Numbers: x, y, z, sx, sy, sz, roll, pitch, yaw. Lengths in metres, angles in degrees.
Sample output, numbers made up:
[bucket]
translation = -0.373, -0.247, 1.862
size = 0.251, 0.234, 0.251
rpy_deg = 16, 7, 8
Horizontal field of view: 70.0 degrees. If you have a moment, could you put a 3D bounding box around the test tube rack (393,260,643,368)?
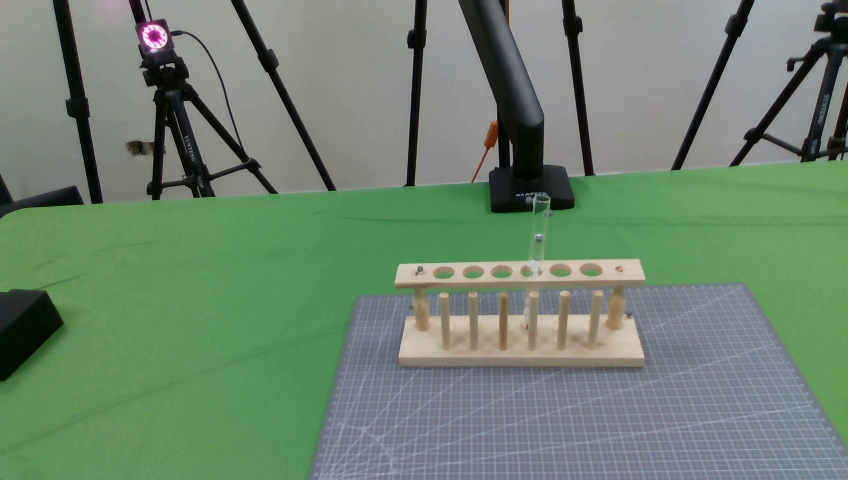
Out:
[test tube rack]
translation = 0.093, 0.075, 0.612
size = 0.242, 0.086, 0.066
rpy_deg = -2, 33, 8

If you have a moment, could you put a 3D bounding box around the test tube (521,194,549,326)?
[test tube]
translation = 0.109, 0.024, 0.597
size = 0.017, 0.151, 0.017
rpy_deg = 0, 32, 1
